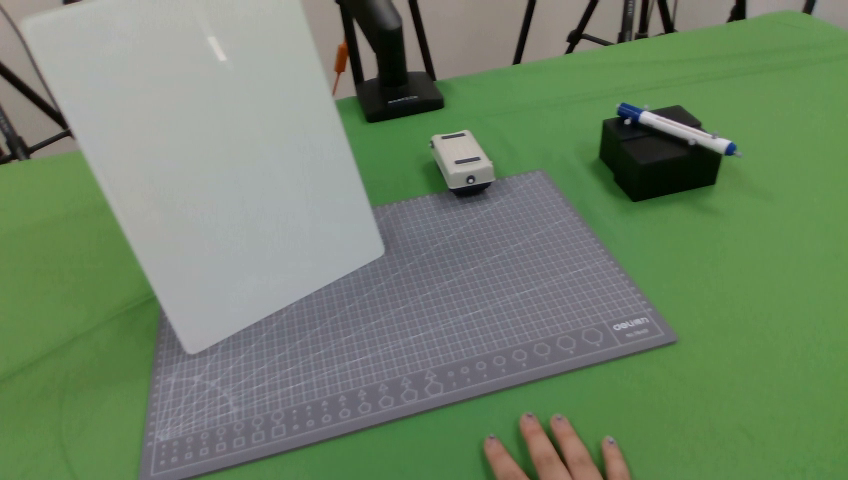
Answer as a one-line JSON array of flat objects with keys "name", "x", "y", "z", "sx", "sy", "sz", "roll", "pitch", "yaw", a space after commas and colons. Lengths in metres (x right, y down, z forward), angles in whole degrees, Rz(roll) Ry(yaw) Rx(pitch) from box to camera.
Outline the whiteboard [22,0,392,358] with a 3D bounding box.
[{"name": "whiteboard", "x": -0.197, "y": -0.085, "z": 0.596, "sx": 0.217, "sy": 0.307, "sz": 0.142, "roll": -28, "pitch": 24, "yaw": -23}]

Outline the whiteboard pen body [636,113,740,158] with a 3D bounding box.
[{"name": "whiteboard pen body", "x": 0.286, "y": -0.122, "z": 0.681, "sx": 0.017, "sy": 0.017, "sz": 0.139, "roll": -30, "pitch": 44, "yaw": -26}]

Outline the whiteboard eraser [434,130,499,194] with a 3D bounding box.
[{"name": "whiteboard eraser", "x": 0.049, "y": -0.095, "z": 0.740, "sx": 0.055, "sy": 0.042, "sz": 0.111, "roll": -13, "pitch": 35, "yaw": -5}]

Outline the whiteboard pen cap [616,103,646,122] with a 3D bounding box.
[{"name": "whiteboard pen cap", "x": 0.246, "y": -0.150, "z": 0.719, "sx": 0.033, "sy": 0.018, "sz": 0.018, "roll": -12, "pitch": 35, "yaw": 22}]
